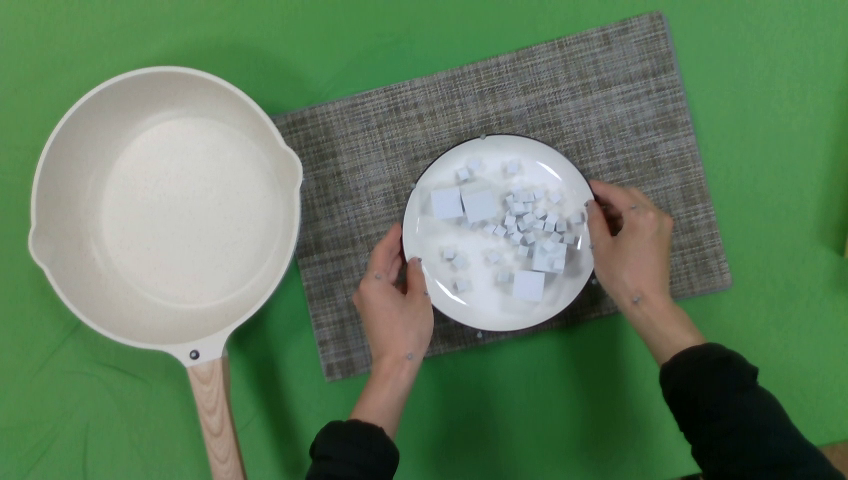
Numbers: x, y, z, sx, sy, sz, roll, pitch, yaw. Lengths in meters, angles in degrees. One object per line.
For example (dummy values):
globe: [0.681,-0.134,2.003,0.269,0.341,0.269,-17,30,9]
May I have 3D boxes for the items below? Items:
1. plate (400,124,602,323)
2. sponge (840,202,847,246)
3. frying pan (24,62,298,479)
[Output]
plate: [0.080,-0.017,0.642,0.207,0.039,0.207,0,90,5]
sponge: [0.507,-0.084,0.600,0.118,0.061,0.206,10,91,5]
frying pan: [-0.245,0.060,0.639,0.307,0.103,0.486,-16,81,6]
